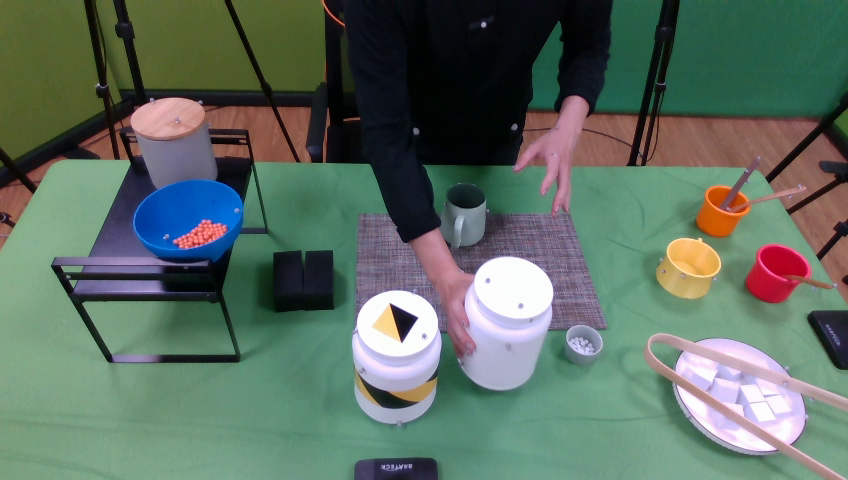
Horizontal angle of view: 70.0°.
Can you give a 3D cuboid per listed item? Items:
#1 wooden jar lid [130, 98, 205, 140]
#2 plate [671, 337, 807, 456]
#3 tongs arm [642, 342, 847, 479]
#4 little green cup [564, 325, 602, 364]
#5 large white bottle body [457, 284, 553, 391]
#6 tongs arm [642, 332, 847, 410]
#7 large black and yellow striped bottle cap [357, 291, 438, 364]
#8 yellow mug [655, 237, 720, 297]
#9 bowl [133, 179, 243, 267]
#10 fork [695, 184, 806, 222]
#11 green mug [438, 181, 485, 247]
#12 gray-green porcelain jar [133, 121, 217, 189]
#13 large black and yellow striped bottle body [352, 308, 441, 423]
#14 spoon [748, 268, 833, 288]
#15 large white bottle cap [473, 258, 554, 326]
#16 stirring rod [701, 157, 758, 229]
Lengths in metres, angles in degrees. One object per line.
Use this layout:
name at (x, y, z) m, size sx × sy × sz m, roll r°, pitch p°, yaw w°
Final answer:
wooden jar lid at (-0.393, -0.183, 0.934) m, size 0.108 × 0.021 × 0.107 m, roll 3°, pitch 44°, yaw -2°
plate at (0.504, 0.254, 0.984) m, size 0.208 × 0.039 × 0.206 m, roll 2°, pitch 46°, yaw -2°
tongs arm at (0.504, 0.279, 0.918) m, size 0.386 × 0.028 × 0.028 m, roll 34°, pitch 59°, yaw 22°
little green cup at (0.269, 0.180, 1.035) m, size 0.061 × 0.039 × 0.061 m, roll 2°, pitch 45°, yaw -2°
large white bottle body at (0.123, 0.131, 0.928) m, size 0.131 × 0.185 × 0.130 m, roll 3°, pitch 46°, yaw -3°
tongs arm at (0.546, 0.227, 0.968) m, size 0.384 × 0.026 × 0.050 m, roll 22°, pitch 52°, yaw 13°
large black and yellow striped bottle cap at (-0.037, 0.121, 0.851) m, size 0.115 × 0.019 × 0.114 m, roll 1°, pitch 46°, yaw -1°
yellow mug at (0.509, 0.041, 1.167) m, size 0.099 × 0.064 × 0.130 m, roll 24°, pitch 48°, yaw 18°
bowl at (-0.339, -0.013, 0.895) m, size 0.151 × 0.077 × 0.150 m, roll 2°, pitch 46°, yaw -2°
fork at (0.658, -0.074, 1.229) m, size 0.207 × 0.019 × 0.028 m, roll -23°, pitch 35°, yaw 37°
green mug at (0.071, -0.039, 1.177) m, size 0.092 × 0.105 × 0.124 m, roll 12°, pitch 47°, yaw 7°
gray-green porcelain jar at (-0.397, -0.141, 0.979) m, size 0.106 × 0.127 × 0.105 m, roll 2°, pitch 47°, yaw -2°
large black and yellow striped bottle body at (-0.042, 0.178, 0.913) m, size 0.131 × 0.185 × 0.130 m, roll 2°, pitch 46°, yaw -2°
spoon at (0.660, 0.068, 1.098) m, size 0.041 × 0.193 × 0.021 m, roll -4°, pitch 91°, yaw -6°
large white bottle cap at (0.128, 0.072, 0.867) m, size 0.115 × 0.018 × 0.114 m, roll 3°, pitch 46°, yaw -3°
stirring rod at (0.634, -0.096, 1.257) m, size 0.014 × 0.006 × 0.176 m, roll 38°, pitch 97°, yaw 29°
